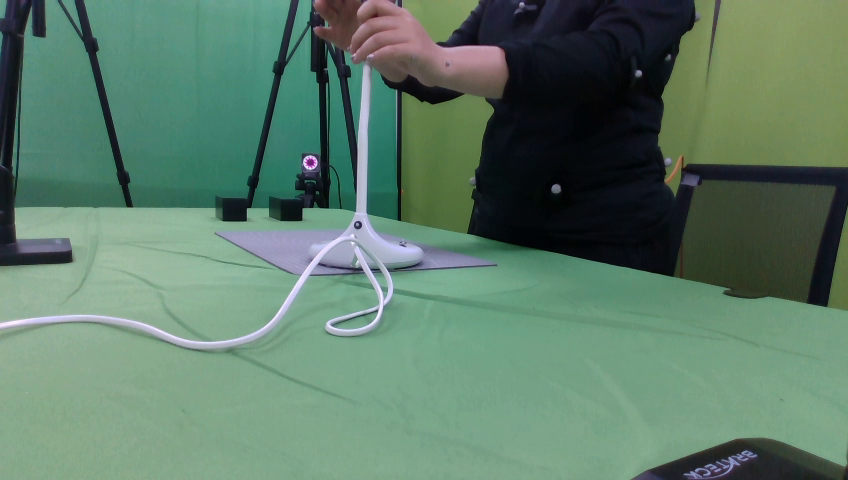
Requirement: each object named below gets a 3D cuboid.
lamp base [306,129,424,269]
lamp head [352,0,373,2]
[{"bbox_3d":[-0.077,-0.057,0.811,0.161,0.180,0.179,2,10,-4],"label":"lamp base"},{"bbox_3d":[-0.068,-0.377,0.785,0.113,0.112,0.122,-1,9,-26],"label":"lamp head"}]
